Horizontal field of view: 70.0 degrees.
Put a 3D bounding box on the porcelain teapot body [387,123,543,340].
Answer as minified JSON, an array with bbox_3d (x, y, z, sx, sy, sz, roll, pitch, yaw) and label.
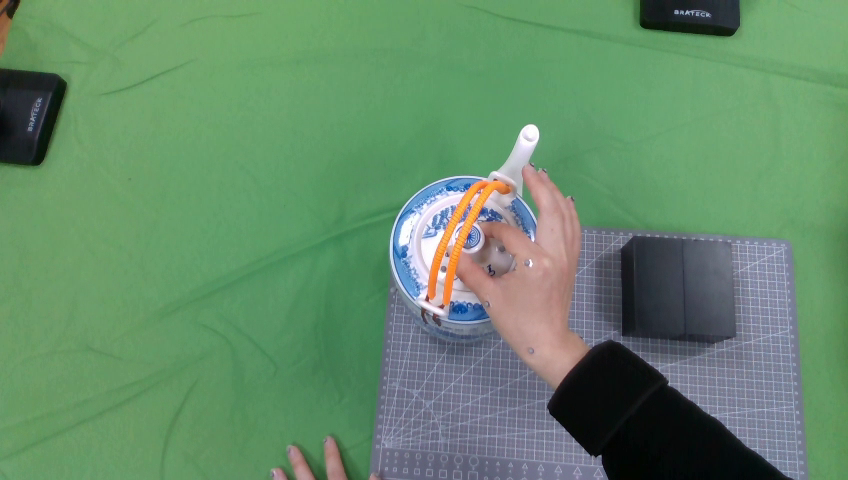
[{"bbox_3d":[0.051,-0.013,0.583,0.145,0.226,0.205,26,76,9],"label":"porcelain teapot body"}]

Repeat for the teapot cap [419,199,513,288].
[{"bbox_3d":[0.037,0.001,0.538,0.085,0.044,0.084,-1,71,4],"label":"teapot cap"}]
